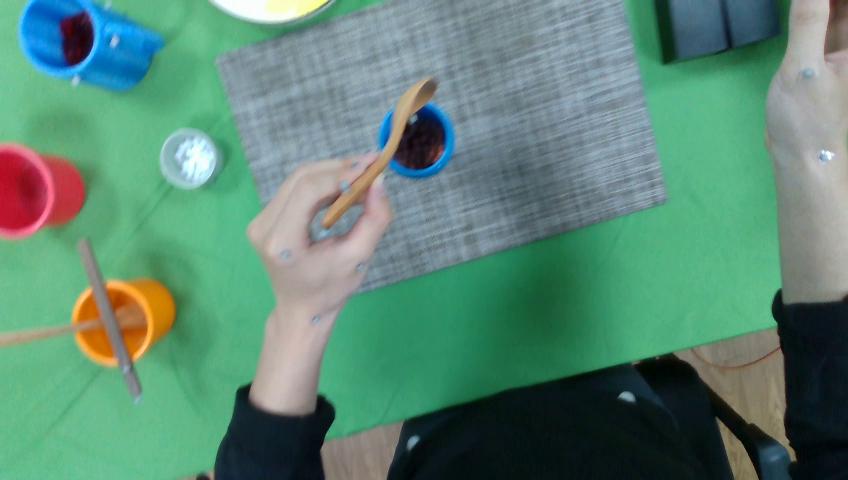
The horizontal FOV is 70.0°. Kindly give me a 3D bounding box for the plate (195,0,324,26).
[{"bbox_3d":[-0.177,-0.336,0.652,0.209,0.038,0.209,0,98,1],"label":"plate"}]

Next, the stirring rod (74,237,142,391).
[{"bbox_3d":[-0.341,0.081,0.654,0.014,0.006,0.176,-17,96,4],"label":"stirring rod"}]

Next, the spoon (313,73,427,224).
[{"bbox_3d":[-0.033,-0.071,0.432,0.022,0.192,0.042,33,132,-10],"label":"spoon"}]

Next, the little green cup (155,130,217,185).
[{"bbox_3d":[-0.267,-0.093,0.687,0.061,0.038,0.061,0,98,2],"label":"little green cup"}]

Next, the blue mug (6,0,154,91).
[{"bbox_3d":[-0.349,-0.206,0.640,0.116,0.105,0.082,-4,97,2],"label":"blue mug"}]

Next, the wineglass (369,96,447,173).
[{"bbox_3d":[-0.013,-0.103,0.608,0.074,0.172,0.074,0,97,2],"label":"wineglass"}]

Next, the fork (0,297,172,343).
[{"bbox_3d":[-0.383,0.090,0.658,0.208,0.018,0.028,-10,106,-41],"label":"fork"}]
